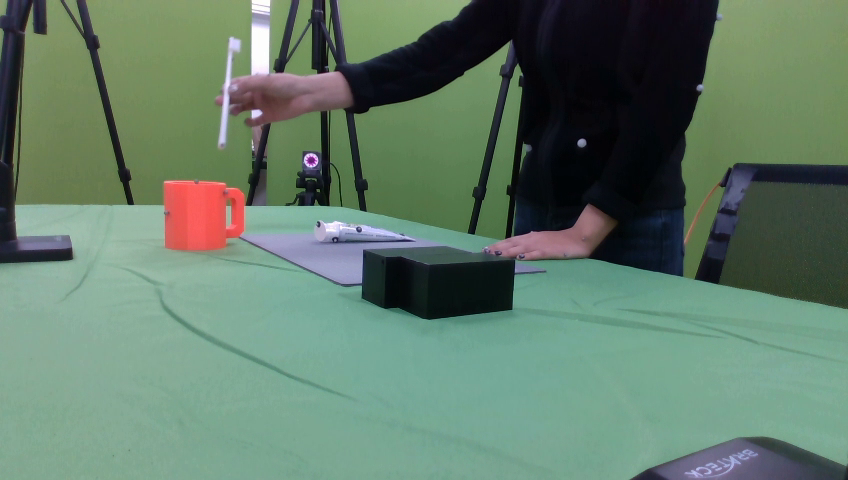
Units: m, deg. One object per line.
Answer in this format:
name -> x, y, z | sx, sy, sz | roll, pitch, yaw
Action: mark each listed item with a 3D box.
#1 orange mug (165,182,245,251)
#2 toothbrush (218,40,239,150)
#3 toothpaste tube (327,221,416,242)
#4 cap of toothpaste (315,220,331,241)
orange mug -> -0.326, -0.040, 0.911 | 0.083, 0.101, 0.127 | 8, 14, 37
toothbrush -> -0.301, -0.224, 0.931 | 0.017, 0.181, 0.014 | 8, -14, -26
toothpaste tube -> -0.095, -0.012, 1.026 | 0.166, 0.034, 0.055 | 2, 13, -33
cap of toothpaste -> -0.165, -0.016, 0.982 | 0.011, 0.037, 0.037 | -9, 12, -44
